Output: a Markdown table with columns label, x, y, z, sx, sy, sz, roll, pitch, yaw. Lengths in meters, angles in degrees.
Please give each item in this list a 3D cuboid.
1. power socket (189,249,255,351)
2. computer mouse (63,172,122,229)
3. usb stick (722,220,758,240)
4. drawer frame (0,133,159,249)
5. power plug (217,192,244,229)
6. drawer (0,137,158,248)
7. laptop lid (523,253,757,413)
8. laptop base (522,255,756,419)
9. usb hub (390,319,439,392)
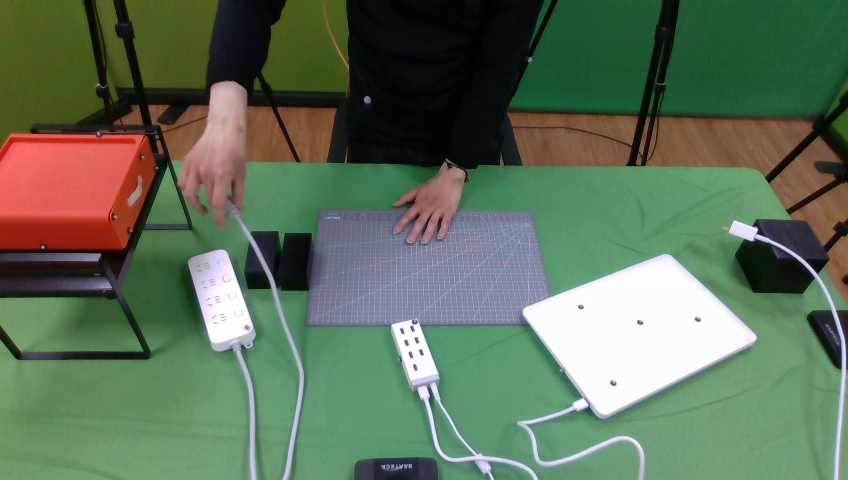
| label | x | y | z | sx | sy | sz | roll | pitch | yaw |
| --- | --- | --- | --- | --- | --- | --- | --- | --- | --- |
| power socket | -0.358 | 0.101 | 1.068 | 0.072 | 0.033 | 0.225 | -18 | 51 | -19 |
| computer mouse | -0.522 | -0.066 | 0.955 | 0.063 | 0.041 | 0.116 | 0 | 48 | -9 |
| usb stick | 0.593 | -0.021 | 1.139 | 0.059 | 0.027 | 0.021 | 21 | 12 | 29 |
| drawer frame | -0.553 | -0.078 | 0.942 | 0.214 | 0.083 | 0.200 | -1 | 47 | -4 |
| power plug | -0.320 | -0.044 | 1.005 | 0.035 | 0.053 | 0.072 | -15 | 81 | -10 |
| drawer | -0.549 | -0.079 | 0.944 | 0.212 | 0.073 | 0.193 | 0 | 47 | -3 |
| laptop lid | 0.380 | 0.147 | 1.073 | 0.357 | 0.013 | 0.240 | -17 | 48 | -19 |
| laptop base | 0.381 | 0.157 | 1.080 | 0.355 | 0.023 | 0.234 | -18 | 48 | -21 |
| usb hub | -0.016 | 0.190 | 1.013 | 0.049 | 0.025 | 0.124 | -11 | 48 | -15 |
